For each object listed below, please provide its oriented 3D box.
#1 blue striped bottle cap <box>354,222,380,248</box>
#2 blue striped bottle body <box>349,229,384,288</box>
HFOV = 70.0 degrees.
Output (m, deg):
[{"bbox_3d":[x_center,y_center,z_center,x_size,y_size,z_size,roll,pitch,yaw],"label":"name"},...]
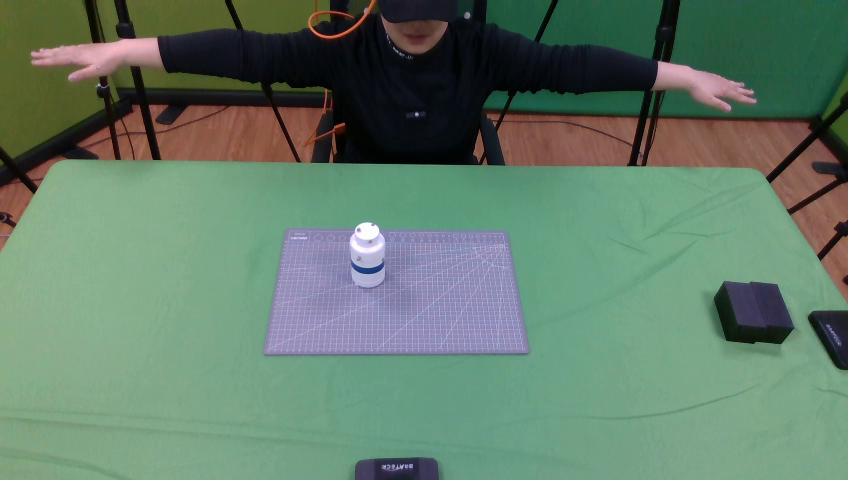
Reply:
[{"bbox_3d":[-0.100,-0.009,1.057,0.044,0.021,0.044,2,46,-1],"label":"blue striped bottle cap"},{"bbox_3d":[-0.103,0.026,1.093,0.063,0.121,0.062,2,46,-2],"label":"blue striped bottle body"}]
